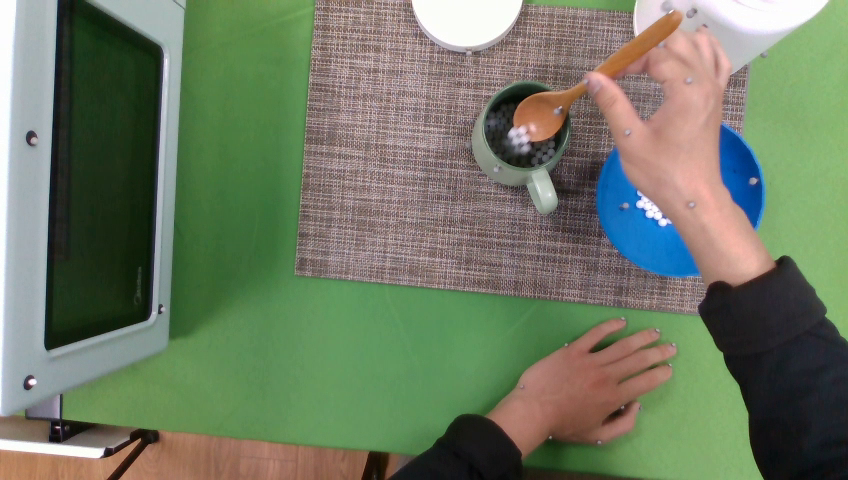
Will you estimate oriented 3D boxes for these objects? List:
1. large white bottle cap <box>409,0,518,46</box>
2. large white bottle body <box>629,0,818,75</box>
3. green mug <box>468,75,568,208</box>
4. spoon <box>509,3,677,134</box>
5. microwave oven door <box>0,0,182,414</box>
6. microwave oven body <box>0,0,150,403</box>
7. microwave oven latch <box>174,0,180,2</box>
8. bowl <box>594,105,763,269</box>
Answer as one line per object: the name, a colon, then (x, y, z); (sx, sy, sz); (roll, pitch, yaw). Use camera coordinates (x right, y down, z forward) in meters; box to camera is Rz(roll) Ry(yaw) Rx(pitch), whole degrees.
large white bottle cap: (0.040, -0.257, 0.616); (0.115, 0.018, 0.115); (0, 91, 2)
large white bottle body: (0.266, -0.232, 0.525); (0.130, 0.185, 0.130); (0, 89, 2)
green mug: (0.096, -0.091, 0.580); (0.092, 0.105, 0.125); (-22, 91, 3)
spoon: (0.122, -0.125, 0.468); (0.021, 0.193, 0.042); (-44, 97, -21)
microwave oven door: (-0.281, -0.060, 0.517); (0.039, 0.244, 0.356); (3, 93, 3)
microwave oven body: (-0.424, -0.111, 0.525); (0.326, 0.260, 0.442); (3, 94, 2)
microwave oven latch: (-0.260, -0.282, 0.606); (0.030, 0.029, 0.079); (4, 94, 2)
bowl: (0.234, -0.049, 0.589); (0.151, 0.077, 0.151); (0, 93, 3)
